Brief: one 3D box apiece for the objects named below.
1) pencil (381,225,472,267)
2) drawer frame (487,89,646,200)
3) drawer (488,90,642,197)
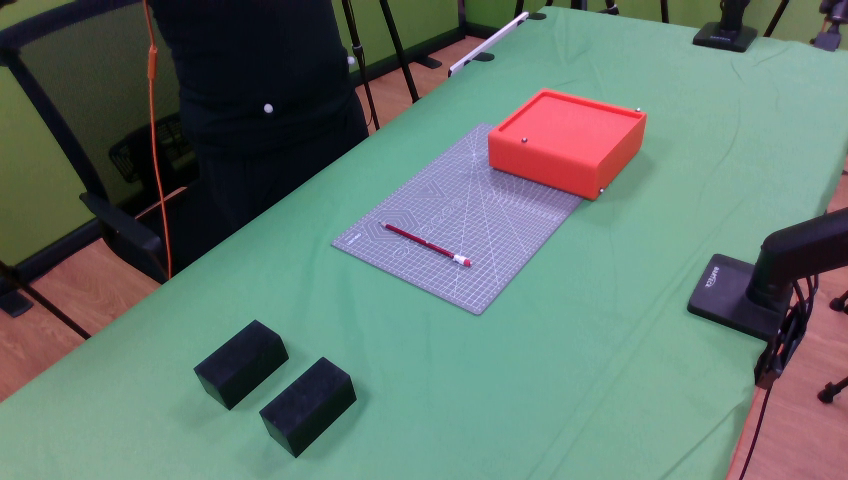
[{"bbox_3d":[-0.001,0.005,0.970,0.192,0.012,0.012,23,49,34],"label":"pencil"},{"bbox_3d":[0.257,-0.180,1.094,0.212,0.083,0.202,23,48,30],"label":"drawer frame"},{"bbox_3d":[0.254,-0.179,1.095,0.210,0.073,0.195,24,48,30],"label":"drawer"}]
